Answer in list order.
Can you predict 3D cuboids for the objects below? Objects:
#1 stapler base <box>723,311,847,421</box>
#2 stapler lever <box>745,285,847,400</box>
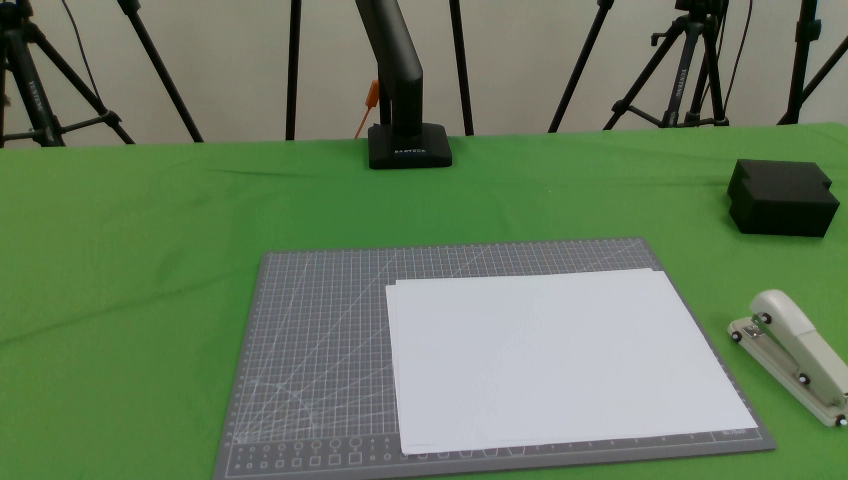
[{"bbox_3d":[0.337,0.107,0.560,0.041,0.024,0.129,-13,40,-16],"label":"stapler base"},{"bbox_3d":[0.338,0.087,0.544,0.027,0.040,0.116,-14,41,-16],"label":"stapler lever"}]
